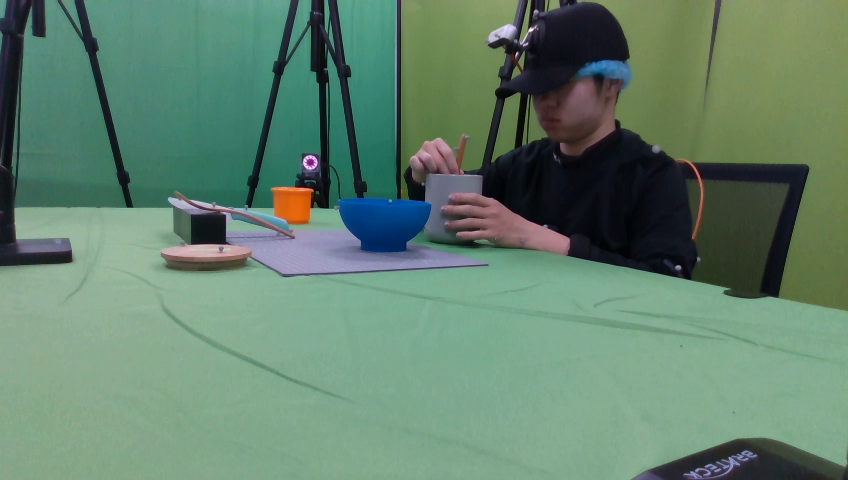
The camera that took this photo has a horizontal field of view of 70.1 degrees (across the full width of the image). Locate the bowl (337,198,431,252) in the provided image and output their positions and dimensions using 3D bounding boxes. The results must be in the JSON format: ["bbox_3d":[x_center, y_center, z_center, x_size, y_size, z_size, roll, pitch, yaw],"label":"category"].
[{"bbox_3d":[-0.066,-0.024,0.967,0.151,0.077,0.151,3,7,0],"label":"bowl"}]

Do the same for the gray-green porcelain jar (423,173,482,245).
[{"bbox_3d":[0.052,-0.059,1.116,0.106,0.126,0.106,3,8,0],"label":"gray-green porcelain jar"}]

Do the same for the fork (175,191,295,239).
[{"bbox_3d":[-0.305,-0.039,0.993,0.208,0.018,0.028,20,-9,-34],"label":"fork"}]

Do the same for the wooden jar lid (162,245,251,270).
[{"bbox_3d":[-0.278,0.022,0.777,0.108,0.020,0.108,2,6,0],"label":"wooden jar lid"}]

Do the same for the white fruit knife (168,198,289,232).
[{"bbox_3d":[-0.329,-0.044,1.036,0.208,0.027,0.016,14,-1,-32],"label":"white fruit knife"}]
